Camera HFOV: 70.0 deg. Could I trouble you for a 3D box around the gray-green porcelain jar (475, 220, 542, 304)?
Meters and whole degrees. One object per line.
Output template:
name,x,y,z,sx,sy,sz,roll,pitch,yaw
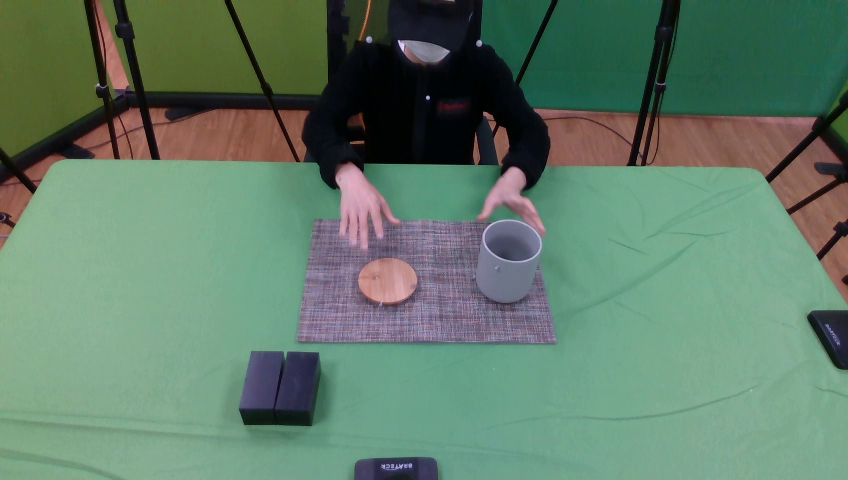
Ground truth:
gray-green porcelain jar,0.148,0.044,1.090,0.106,0.127,0.105,2,46,-2

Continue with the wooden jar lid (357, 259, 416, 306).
wooden jar lid,-0.069,0.079,1.113,0.108,0.021,0.107,3,46,-3
